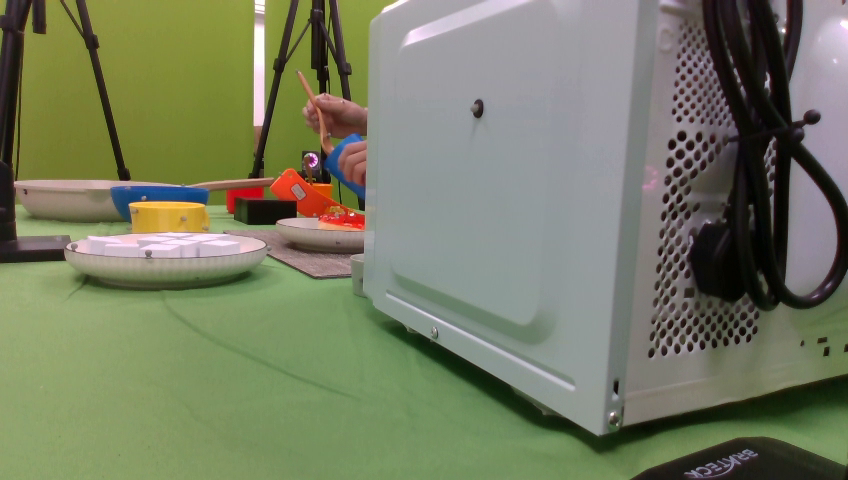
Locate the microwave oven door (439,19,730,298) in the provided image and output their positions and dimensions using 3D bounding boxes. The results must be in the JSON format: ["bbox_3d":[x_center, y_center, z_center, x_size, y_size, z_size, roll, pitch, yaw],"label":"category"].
[{"bbox_3d":[0.181,-0.076,0.618,0.358,0.243,0.039,-2,8,-28],"label":"microwave oven door"}]

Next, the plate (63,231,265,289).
[{"bbox_3d":[-0.288,0.021,0.687,0.208,0.039,0.207,2,8,0],"label":"plate"}]

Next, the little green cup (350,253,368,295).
[{"bbox_3d":[-0.048,0.035,0.632,0.061,0.038,0.061,3,6,0],"label":"little green cup"}]

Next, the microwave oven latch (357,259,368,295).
[{"bbox_3d":[-0.019,0.031,0.529,0.079,0.029,0.030,-1,7,-26],"label":"microwave oven latch"}]

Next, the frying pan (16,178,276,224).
[{"bbox_3d":[-0.554,-0.097,1.266,0.490,0.102,0.305,-10,13,-24],"label":"frying pan"}]

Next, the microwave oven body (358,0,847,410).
[{"bbox_3d":[0.210,-0.051,0.471,0.444,0.260,0.324,-1,7,-28],"label":"microwave oven body"}]

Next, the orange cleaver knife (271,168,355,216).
[{"bbox_3d":[-0.236,-0.084,1.333,0.212,0.077,0.012,31,-9,-32],"label":"orange cleaver knife"}]

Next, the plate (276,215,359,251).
[{"bbox_3d":[-0.126,-0.012,0.950,0.209,0.038,0.209,2,7,0],"label":"plate"}]

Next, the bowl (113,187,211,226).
[{"bbox_3d":[-0.436,-0.046,1.013,0.151,0.077,0.151,2,7,0],"label":"bowl"}]

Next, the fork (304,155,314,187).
[{"bbox_3d":[-0.268,-0.134,1.446,0.028,0.018,0.207,1,-36,-1],"label":"fork"}]

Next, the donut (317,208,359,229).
[{"bbox_3d":[-0.118,-0.023,0.954,0.099,0.048,0.099,5,6,0],"label":"donut"}]

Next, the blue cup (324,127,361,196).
[{"bbox_3d":[-0.111,-0.129,1.049,0.092,0.100,0.092,-33,-1,0],"label":"blue cup"}]

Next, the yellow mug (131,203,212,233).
[{"bbox_3d":[-0.356,-0.020,0.878,0.099,0.064,0.131,5,7,22],"label":"yellow mug"}]

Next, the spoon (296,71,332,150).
[{"bbox_3d":[-0.190,-0.224,1.081,0.021,0.193,0.042,-27,-16,19],"label":"spoon"}]
